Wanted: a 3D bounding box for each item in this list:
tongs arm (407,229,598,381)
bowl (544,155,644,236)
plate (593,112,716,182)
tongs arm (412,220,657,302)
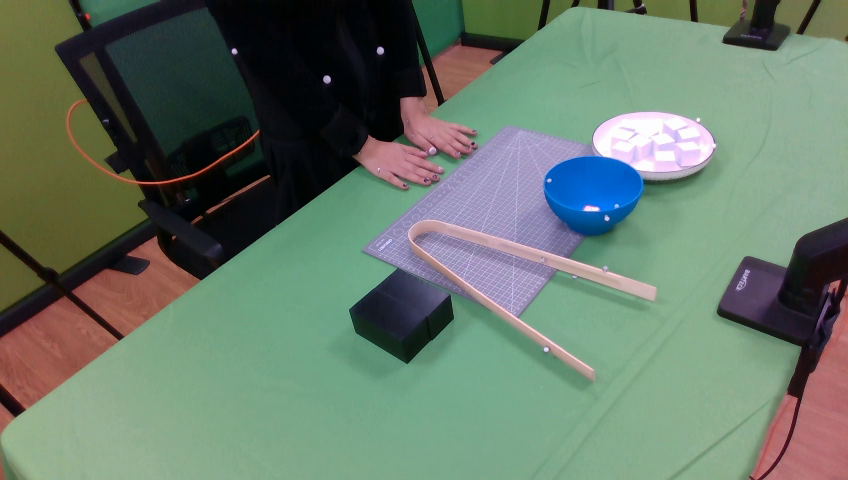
[{"bbox_3d":[0.092,0.081,0.862,0.028,0.028,0.384,-38,47,-20],"label":"tongs arm"},{"bbox_3d":[0.266,-0.061,0.957,0.151,0.077,0.150,-5,41,5],"label":"bowl"},{"bbox_3d":[0.408,-0.163,1.084,0.207,0.039,0.206,-4,40,4],"label":"plate"},{"bbox_3d":[0.149,0.031,0.906,0.382,0.026,0.051,20,52,30],"label":"tongs arm"}]
